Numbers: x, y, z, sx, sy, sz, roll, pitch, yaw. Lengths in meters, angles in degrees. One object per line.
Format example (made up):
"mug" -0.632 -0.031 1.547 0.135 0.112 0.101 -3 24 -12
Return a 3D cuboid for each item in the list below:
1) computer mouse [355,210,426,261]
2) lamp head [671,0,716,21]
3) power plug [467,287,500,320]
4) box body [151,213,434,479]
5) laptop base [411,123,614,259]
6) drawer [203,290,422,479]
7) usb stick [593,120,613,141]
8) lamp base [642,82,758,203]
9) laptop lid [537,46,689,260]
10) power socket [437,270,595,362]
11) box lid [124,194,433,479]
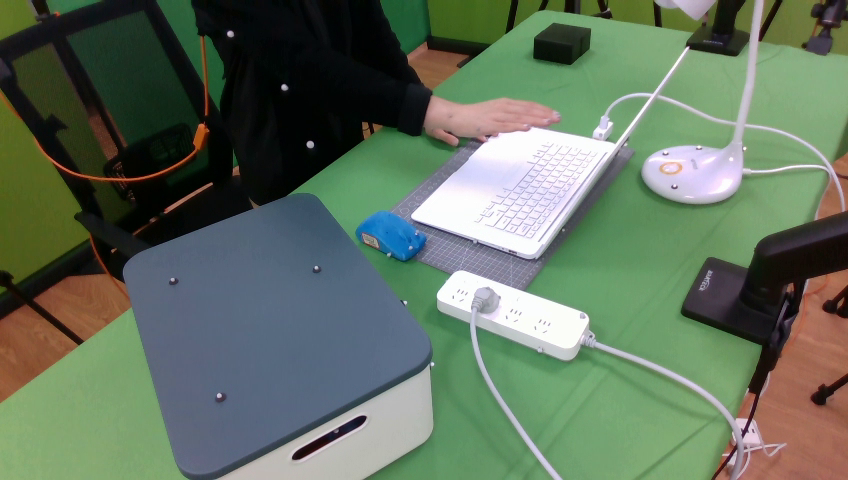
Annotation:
"computer mouse" -0.055 -0.010 0.980 0.116 0.041 0.063 27 49 28
"lamp head" 0.375 -0.373 0.807 0.122 0.113 0.112 -40 27 32
"power plug" 0.073 0.092 0.814 0.035 0.053 0.073 29 54 34
"box body" -0.175 0.131 0.738 0.255 0.161 0.360 -25 43 -19
"laptop base" 0.168 -0.101 1.073 0.234 0.023 0.355 17 46 30
"drawer" -0.136 0.188 0.740 0.195 0.073 0.210 -24 52 -22
"usb stick" 0.336 -0.201 1.146 0.021 0.027 0.059 26 53 27
"lamp base" 0.464 -0.174 0.992 0.179 0.181 0.159 -5 41 -1
"laptop lid" 0.293 -0.136 0.927 0.013 0.241 0.357 35 51 10
"power socket" 0.119 0.101 0.832 0.225 0.033 0.072 19 48 27
"box lid" -0.182 0.076 0.689 0.264 0.015 0.368 -24 42 -20
